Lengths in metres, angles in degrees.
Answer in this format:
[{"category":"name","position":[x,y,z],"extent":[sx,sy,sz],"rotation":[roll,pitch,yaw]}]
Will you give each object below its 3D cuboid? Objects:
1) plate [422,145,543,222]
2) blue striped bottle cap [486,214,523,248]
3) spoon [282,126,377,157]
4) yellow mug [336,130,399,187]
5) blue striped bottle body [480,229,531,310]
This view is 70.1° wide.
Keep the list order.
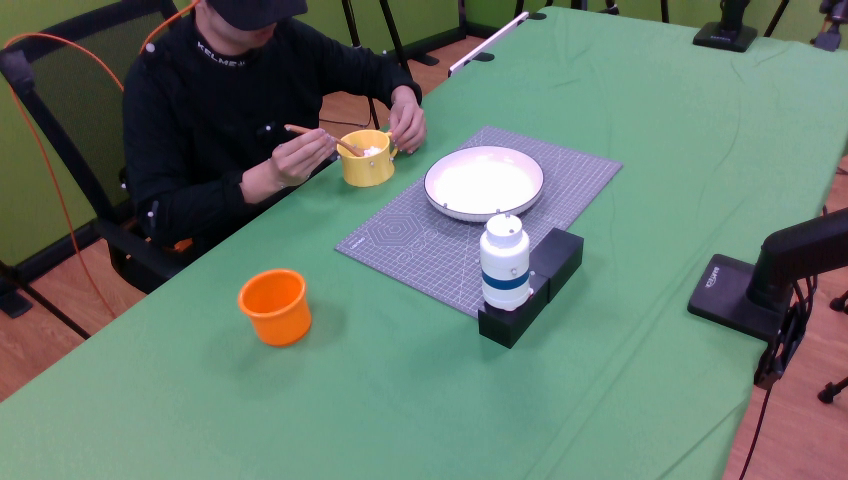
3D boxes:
[{"category":"plate","position":[0.101,-0.094,1.048],"extent":[0.207,0.039,0.206],"rotation":[-4,41,4]},{"category":"blue striped bottle cap","position":[0.098,-0.011,0.735],"extent":[0.044,0.021,0.044],"rotation":[-3,38,3]},{"category":"spoon","position":[-0.160,-0.173,1.070],"extent":[0.195,0.021,0.041],"rotation":[16,28,-38]},{"category":"yellow mug","position":[-0.099,-0.161,1.138],"extent":[0.131,0.064,0.099],"rotation":[-33,47,-29]},{"category":"blue striped bottle body","position":[0.104,0.027,0.769],"extent":[0.063,0.121,0.063],"rotation":[-4,40,4]}]
